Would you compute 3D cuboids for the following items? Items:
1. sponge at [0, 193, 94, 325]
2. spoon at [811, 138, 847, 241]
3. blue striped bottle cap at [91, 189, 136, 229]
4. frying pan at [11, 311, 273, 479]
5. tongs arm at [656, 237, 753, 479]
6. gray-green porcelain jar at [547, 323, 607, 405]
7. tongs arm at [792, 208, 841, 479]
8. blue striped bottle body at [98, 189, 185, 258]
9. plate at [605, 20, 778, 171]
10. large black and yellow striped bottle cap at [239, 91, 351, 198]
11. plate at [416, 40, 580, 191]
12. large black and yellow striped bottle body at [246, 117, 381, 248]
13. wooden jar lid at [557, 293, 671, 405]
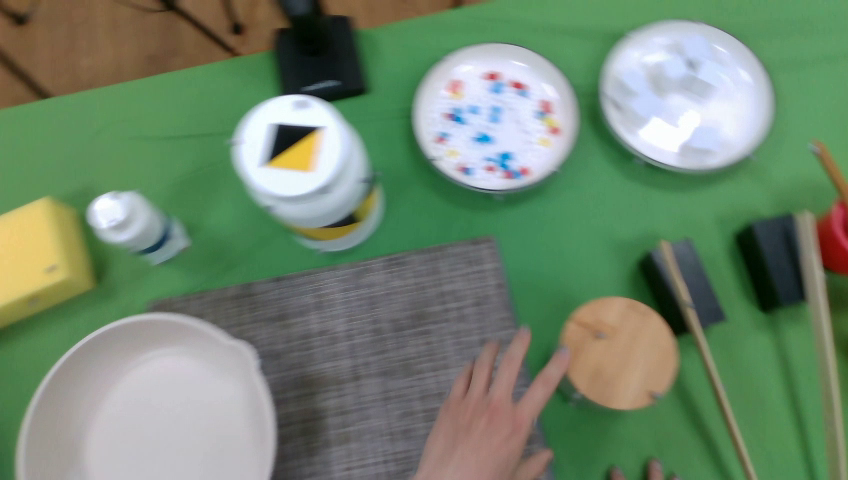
[{"bbox_3d":[-0.545,0.040,0.770,0.207,0.061,0.117,-24,74,-3],"label":"sponge"},{"bbox_3d":[0.467,-0.042,0.669,0.041,0.021,0.195,-49,119,-11],"label":"spoon"},{"bbox_3d":[-0.355,-0.036,0.691,0.044,0.021,0.044,0,74,2],"label":"blue striped bottle cap"},{"bbox_3d":[-0.241,0.297,0.650,0.306,0.103,0.484,-41,67,-6],"label":"frying pan"},{"bbox_3d":[0.334,0.174,0.648,0.051,0.026,0.383,-16,84,-2],"label":"tongs arm"},{"bbox_3d":[0.190,0.124,0.655,0.106,0.127,0.105,-1,74,4],"label":"gray-green porcelain jar"},{"bbox_3d":[0.417,0.158,0.647,0.028,0.028,0.386,-1,85,-4],"label":"tongs arm"},{"bbox_3d":[-0.349,-0.022,0.741,0.063,0.121,0.062,-1,74,4],"label":"blue striped bottle body"},{"bbox_3d":[0.335,-0.181,0.773,0.207,0.039,0.206,-1,74,5],"label":"plate"},{"bbox_3d":[-0.133,-0.099,0.625,0.115,0.019,0.114,-1,76,4],"label":"large black and yellow striped bottle cap"},{"bbox_3d":[0.094,-0.160,0.787,0.209,0.038,0.208,-1,75,5],"label":"plate"},{"bbox_3d":[-0.127,-0.075,0.705,0.131,0.185,0.130,-1,74,5],"label":"large black and yellow striped bottle body"},{"bbox_3d":[0.185,0.106,0.595,0.108,0.021,0.108,-2,78,7],"label":"wooden jar lid"}]
